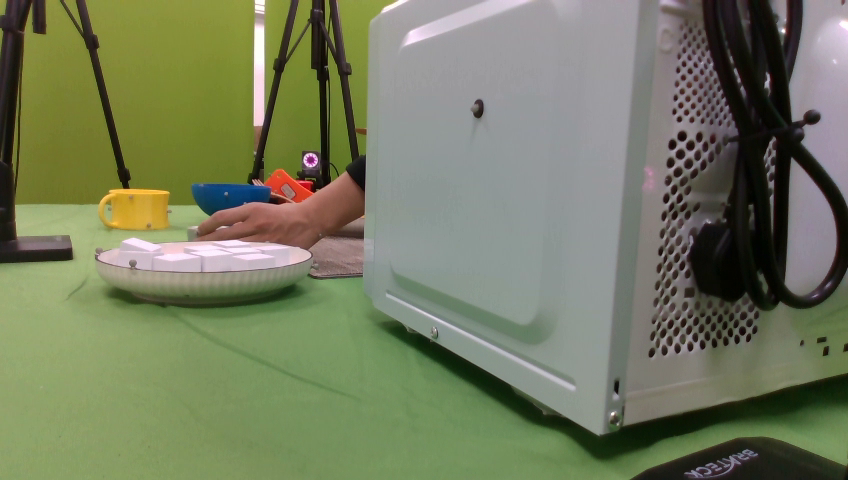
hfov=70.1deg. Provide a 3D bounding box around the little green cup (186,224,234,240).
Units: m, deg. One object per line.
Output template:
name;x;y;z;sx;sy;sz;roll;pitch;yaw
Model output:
little green cup;-0.283;0.001;0.805;0.061;0.038;0.061;-1;8;0

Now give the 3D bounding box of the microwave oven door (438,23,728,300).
microwave oven door;0.181;-0.073;0.620;0.358;0.243;0.039;-2;8;-29

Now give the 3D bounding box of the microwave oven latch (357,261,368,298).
microwave oven latch;-0.019;0.033;0.530;0.079;0.029;0.030;-1;7;-26

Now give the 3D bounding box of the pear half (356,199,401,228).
pear half;-0.075;-0.046;1.132;0.076;0.056;0.110;12;4;31

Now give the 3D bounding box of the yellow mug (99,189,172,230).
yellow mug;-0.518;-0.055;1.080;0.099;0.064;0.131;6;9;26

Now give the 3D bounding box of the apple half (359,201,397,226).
apple half;-0.088;-0.058;1.190;0.081;0.033;0.081;10;29;-5

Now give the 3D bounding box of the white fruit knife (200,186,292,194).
white fruit knife;-0.399;-0.111;1.368;0.208;0.016;0.027;-4;-19;-30

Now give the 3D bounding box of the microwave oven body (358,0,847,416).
microwave oven body;0.211;-0.047;0.474;0.444;0.260;0.324;-1;7;-28

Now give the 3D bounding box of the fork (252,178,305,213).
fork;-0.295;-0.084;1.292;0.206;0.018;0.028;29;10;25

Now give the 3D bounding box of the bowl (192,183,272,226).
bowl;-0.381;-0.071;1.202;0.151;0.077;0.151;3;7;0

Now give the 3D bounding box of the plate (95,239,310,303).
plate;-0.224;0.031;0.629;0.208;0.039;0.207;2;8;0

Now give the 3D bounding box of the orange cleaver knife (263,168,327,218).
orange cleaver knife;-0.262;-0.088;1.353;0.211;0.077;0.012;28;13;-1

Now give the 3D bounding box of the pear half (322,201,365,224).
pear half;-0.157;-0.059;1.197;0.088;0.031;0.070;12;31;-4

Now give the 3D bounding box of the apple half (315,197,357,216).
apple half;-0.162;-0.052;1.121;0.081;0.053;0.074;4;7;-14

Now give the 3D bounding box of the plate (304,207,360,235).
plate;-0.123;-0.037;1.149;0.209;0.038;0.209;2;7;0

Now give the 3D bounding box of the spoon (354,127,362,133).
spoon;-0.089;-0.261;1.329;0.041;0.021;0.194;3;24;32

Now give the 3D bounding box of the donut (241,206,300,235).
donut;-0.263;-0.032;1.039;0.099;0.048;0.099;4;10;0
